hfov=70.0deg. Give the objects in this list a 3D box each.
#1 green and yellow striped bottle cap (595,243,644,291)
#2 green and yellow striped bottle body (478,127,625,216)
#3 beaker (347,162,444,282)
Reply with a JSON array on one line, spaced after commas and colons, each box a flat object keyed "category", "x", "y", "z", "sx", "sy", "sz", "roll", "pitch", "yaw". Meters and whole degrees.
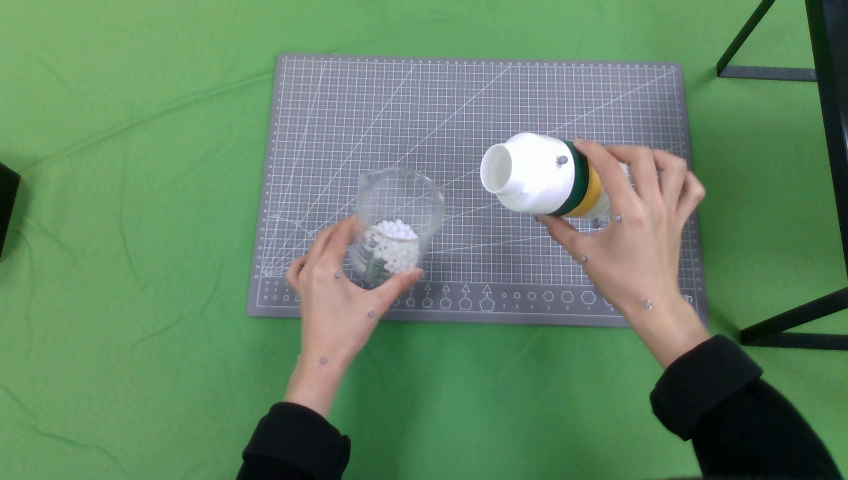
[{"category": "green and yellow striped bottle cap", "x": 0.193, "y": 0.026, "z": 0.597, "sx": 0.045, "sy": 0.020, "sz": 0.045, "roll": 0, "pitch": 70, "yaw": 0}, {"category": "green and yellow striped bottle body", "x": 0.101, "y": -0.055, "z": 0.491, "sx": 0.120, "sy": 0.063, "sz": 0.063, "roll": 3, "pitch": 68, "yaw": -35}, {"category": "beaker", "x": -0.033, "y": -0.013, "z": 0.540, "sx": 0.083, "sy": 0.101, "sz": 0.074, "roll": 37, "pitch": 60, "yaw": 9}]
